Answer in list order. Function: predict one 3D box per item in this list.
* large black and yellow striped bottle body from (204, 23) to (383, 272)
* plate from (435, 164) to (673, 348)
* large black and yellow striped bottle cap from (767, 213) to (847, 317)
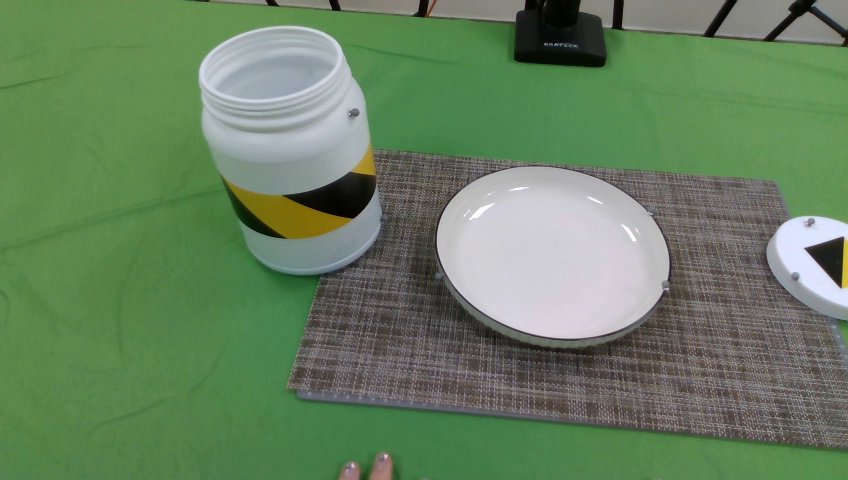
[{"bbox_3d":[-0.108,-0.076,0.524,0.131,0.186,0.129,-1,48,2],"label":"large black and yellow striped bottle body"},{"bbox_3d":[0.114,0.012,0.547,0.208,0.039,0.205,1,48,-1],"label":"plate"},{"bbox_3d":[0.380,0.021,0.559,0.115,0.019,0.114,3,49,-3],"label":"large black and yellow striped bottle cap"}]
